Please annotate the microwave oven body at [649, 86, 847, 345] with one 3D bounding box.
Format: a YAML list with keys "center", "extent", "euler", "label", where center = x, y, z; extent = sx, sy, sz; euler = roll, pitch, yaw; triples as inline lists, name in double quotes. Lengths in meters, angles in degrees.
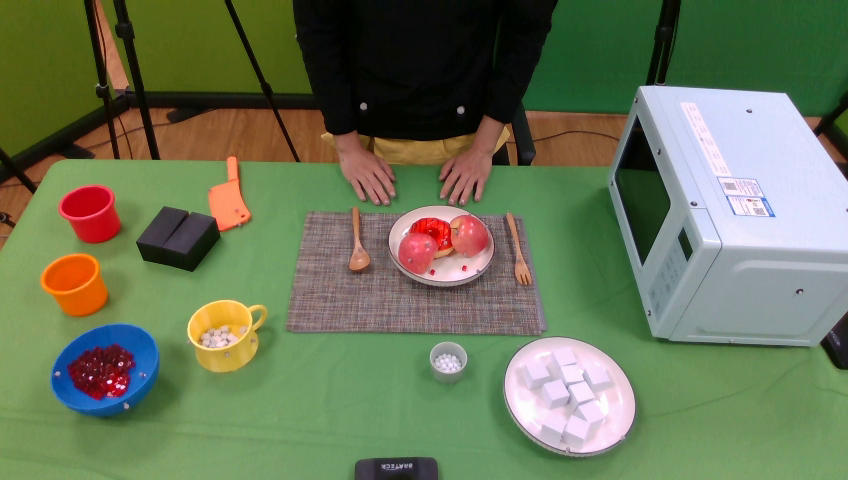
- center: [0.568, -0.053, 1.118]
  extent: [0.326, 0.261, 0.439]
  euler: [2, 45, -1]
  label: "microwave oven body"

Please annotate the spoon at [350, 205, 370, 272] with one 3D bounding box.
- center: [-0.130, -0.008, 1.190]
  extent: [0.041, 0.022, 0.192]
  euler: [-19, 47, 9]
  label: "spoon"

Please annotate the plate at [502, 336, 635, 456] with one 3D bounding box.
- center: [0.225, 0.248, 0.964]
  extent: [0.208, 0.039, 0.206]
  euler: [2, 46, -2]
  label: "plate"

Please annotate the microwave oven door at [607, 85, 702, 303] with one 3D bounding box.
- center: [0.423, -0.094, 1.141]
  extent: [0.039, 0.245, 0.353]
  euler: [2, 46, -1]
  label: "microwave oven door"

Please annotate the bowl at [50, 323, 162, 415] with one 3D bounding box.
- center: [-0.472, 0.209, 0.924]
  extent: [0.151, 0.077, 0.150]
  euler: [3, 45, -2]
  label: "bowl"

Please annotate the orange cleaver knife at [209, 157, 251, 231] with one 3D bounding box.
- center: [-0.409, -0.099, 1.266]
  extent: [0.077, 0.012, 0.210]
  euler: [-14, 50, -10]
  label: "orange cleaver knife"

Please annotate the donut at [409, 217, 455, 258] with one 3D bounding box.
- center: [0.019, -0.006, 1.174]
  extent: [0.099, 0.048, 0.098]
  euler: [3, 43, -2]
  label: "donut"

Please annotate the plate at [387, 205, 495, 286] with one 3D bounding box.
- center: [0.033, 0.014, 1.171]
  extent: [0.209, 0.038, 0.208]
  euler: [3, 46, -2]
  label: "plate"

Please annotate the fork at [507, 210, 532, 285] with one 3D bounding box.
- center: [0.185, 0.012, 1.197]
  extent: [0.028, 0.019, 0.206]
  euler: [-4, 48, -1]
  label: "fork"

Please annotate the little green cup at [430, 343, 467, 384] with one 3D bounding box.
- center: [0.039, 0.203, 0.994]
  extent: [0.061, 0.039, 0.061]
  euler: [2, 46, -2]
  label: "little green cup"

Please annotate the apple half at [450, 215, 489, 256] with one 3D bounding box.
- center: [0.092, -0.013, 1.158]
  extent: [0.075, 0.053, 0.080]
  euler: [34, 39, -28]
  label: "apple half"

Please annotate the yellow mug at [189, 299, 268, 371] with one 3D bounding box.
- center: [-0.316, 0.148, 1.002]
  extent: [0.131, 0.064, 0.099]
  euler: [-33, 56, -31]
  label: "yellow mug"

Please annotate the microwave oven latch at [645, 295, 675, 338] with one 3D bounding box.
- center: [0.412, 0.134, 1.061]
  extent: [0.030, 0.029, 0.078]
  euler: [3, 45, 0]
  label: "microwave oven latch"

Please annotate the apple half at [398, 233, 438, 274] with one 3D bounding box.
- center: [-0.016, 0.022, 1.123]
  extent: [0.081, 0.033, 0.081]
  euler: [-2, 83, 14]
  label: "apple half"
